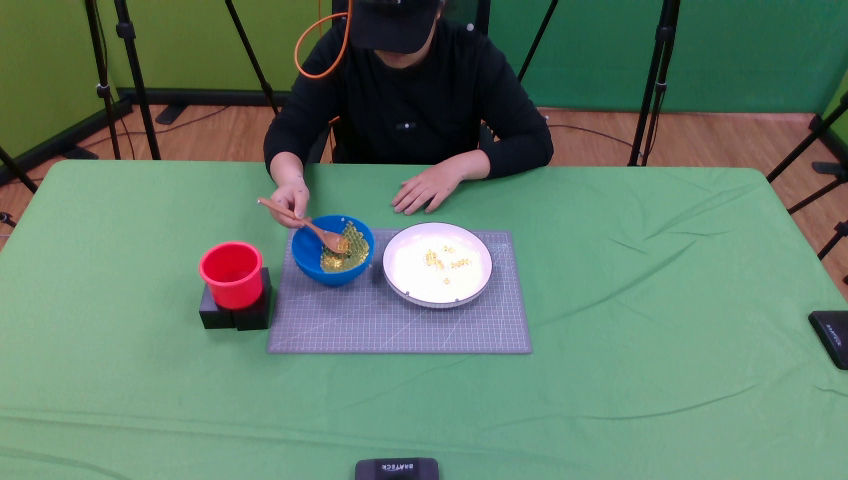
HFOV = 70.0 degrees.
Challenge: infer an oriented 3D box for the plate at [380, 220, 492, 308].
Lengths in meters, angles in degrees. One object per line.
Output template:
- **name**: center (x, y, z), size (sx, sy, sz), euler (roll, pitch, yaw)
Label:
- **plate**: center (0.022, 0.048, 1.137), size (0.208, 0.039, 0.206), euler (2, 46, -2)

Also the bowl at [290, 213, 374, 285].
- **bowl**: center (-0.166, 0.030, 1.113), size (0.151, 0.077, 0.150), euler (2, 46, -2)

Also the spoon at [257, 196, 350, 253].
- **spoon**: center (-0.215, -0.030, 1.097), size (0.195, 0.021, 0.041), euler (34, 50, -31)
